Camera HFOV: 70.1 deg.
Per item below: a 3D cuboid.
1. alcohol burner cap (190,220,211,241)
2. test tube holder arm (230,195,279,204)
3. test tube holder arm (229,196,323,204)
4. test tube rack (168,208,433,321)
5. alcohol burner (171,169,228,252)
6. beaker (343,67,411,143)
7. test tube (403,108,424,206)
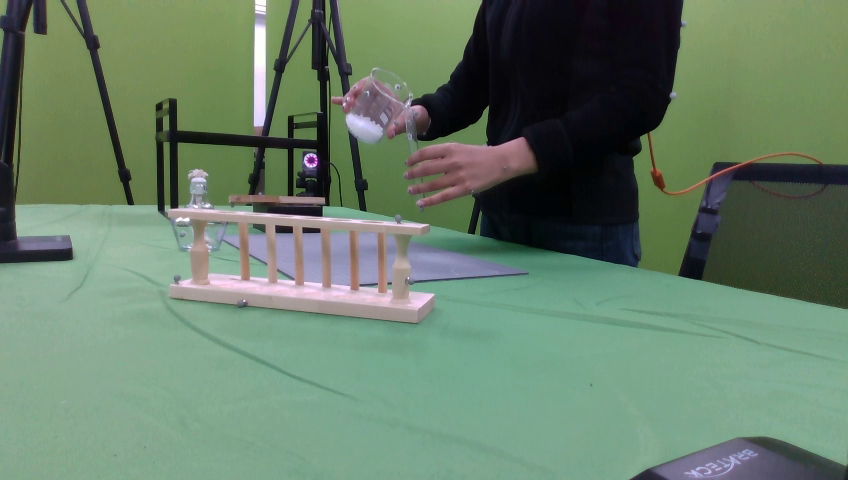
[{"bbox_3d":[-0.365,-0.023,0.988,0.034,0.048,0.034,2,8,0],"label":"alcohol burner cap"},{"bbox_3d":[-0.311,-0.074,1.115,0.088,0.015,0.010,-1,1,-31],"label":"test tube holder arm"},{"bbox_3d":[-0.276,-0.075,1.144,0.179,0.015,0.013,-1,1,-33],"label":"test tube holder arm"},{"bbox_3d":[-0.116,0.017,0.574,0.242,0.085,0.067,4,8,13],"label":"test tube rack"},{"bbox_3d":[-0.325,-0.043,0.875,0.078,0.119,0.078,0,6,0],"label":"alcohol burner"},{"bbox_3d":[-0.076,-0.209,0.959,0.100,0.084,0.074,-48,-10,37],"label":"beaker"},{"bbox_3d":[-0.016,-0.127,0.927,0.017,0.150,0.017,-8,1,0],"label":"test tube"}]
